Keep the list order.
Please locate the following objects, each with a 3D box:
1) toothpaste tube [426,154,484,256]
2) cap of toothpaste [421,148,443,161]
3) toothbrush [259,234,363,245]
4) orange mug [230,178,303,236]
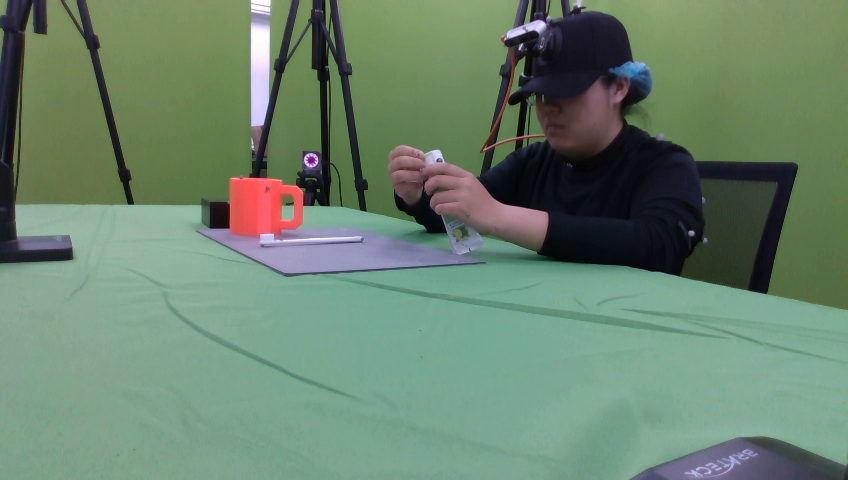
[{"bbox_3d":[0.042,-0.060,0.941,0.055,0.165,0.035,-24,-7,31],"label":"toothpaste tube"},{"bbox_3d":[0.014,-0.133,0.952,0.037,0.011,0.037,-20,-7,-2],"label":"cap of toothpaste"},{"bbox_3d":[-0.175,-0.002,0.958,0.183,0.016,0.014,-1,-4,-39],"label":"toothbrush"},{"bbox_3d":[-0.275,-0.060,1.058,0.126,0.101,0.083,-2,8,-5],"label":"orange mug"}]
